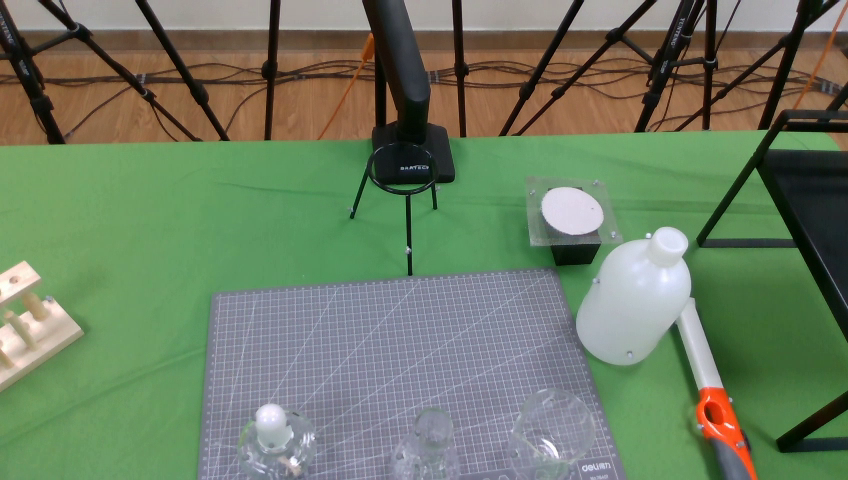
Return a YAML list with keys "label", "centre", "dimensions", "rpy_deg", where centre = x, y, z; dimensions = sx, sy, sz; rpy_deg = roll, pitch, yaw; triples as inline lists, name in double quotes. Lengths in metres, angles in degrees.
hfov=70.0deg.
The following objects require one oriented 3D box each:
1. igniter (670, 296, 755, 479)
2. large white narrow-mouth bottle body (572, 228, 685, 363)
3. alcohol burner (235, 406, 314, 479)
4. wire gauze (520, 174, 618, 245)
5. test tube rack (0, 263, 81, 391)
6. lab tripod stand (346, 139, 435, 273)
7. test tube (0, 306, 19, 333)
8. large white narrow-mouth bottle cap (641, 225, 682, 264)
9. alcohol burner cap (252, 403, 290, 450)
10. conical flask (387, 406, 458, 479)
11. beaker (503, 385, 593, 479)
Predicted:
- label: "igniter"
  centre: [0.337, 0.184, 0.718]
  dimensions: [0.057, 0.025, 0.273]
  rpy_deg: [8, 51, -13]
- label: "large white narrow-mouth bottle body"
  centre: [0.241, 0.058, 0.699]
  dimensions: [0.102, 0.196, 0.101]
  rpy_deg: [2, 52, -3]
- label: "alcohol burner"
  centre: [-0.148, 0.195, 0.599]
  dimensions: [0.078, 0.120, 0.077]
  rpy_deg: [4, 51, -5]
- label: "wire gauze"
  centre: [0.194, -0.043, 0.828]
  dimensions: [0.121, 0.011, 0.124]
  rpy_deg: [2, 52, -4]
- label: "test tube rack"
  centre: [-0.502, 0.136, 0.628]
  dimensions: [0.066, 0.086, 0.242]
  rpy_deg: [36, 57, 20]
- label: "lab tripod stand"
  centre: [-0.034, -0.051, 0.793]
  dimensions: [0.148, 0.132, 0.147]
  rpy_deg: [4, 53, -5]
- label: "test tube"
  centre: [-0.466, 0.054, 0.632]
  dimensions: [0.017, 0.151, 0.017]
  rpy_deg: [0, 51, 0]
- label: "large white narrow-mouth bottle cap"
  centre: [0.247, 0.004, 0.632]
  dimensions: [0.038, 0.024, 0.037]
  rpy_deg: [3, 52, -3]
- label: "alcohol burner cap"
  centre: [-0.146, 0.174, 0.570]
  dimensions: [0.034, 0.048, 0.033]
  rpy_deg: [1, 47, -1]
- label: "conical flask"
  centre: [0.002, 0.206, 0.601]
  dimensions: [0.075, 0.123, 0.074]
  rpy_deg: [3, 52, -3]
- label: "beaker"
  centre: [0.121, 0.207, 0.628]
  dimensions: [0.084, 0.101, 0.073]
  rpy_deg: [-7, 53, -10]
